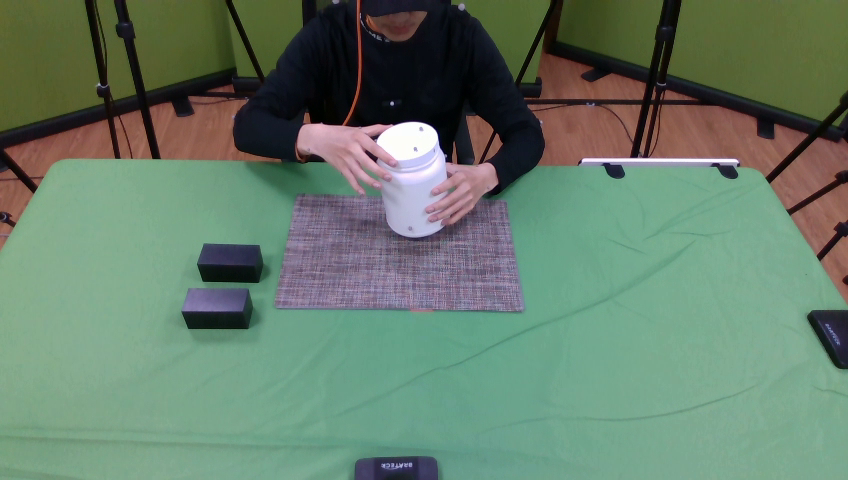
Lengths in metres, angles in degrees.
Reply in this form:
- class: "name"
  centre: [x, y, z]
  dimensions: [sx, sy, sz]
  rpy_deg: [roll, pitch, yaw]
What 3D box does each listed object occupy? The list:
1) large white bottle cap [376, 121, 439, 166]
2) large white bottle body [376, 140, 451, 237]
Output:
- class: "large white bottle cap"
  centre: [-0.031, -0.175, 1.096]
  dimensions: [0.115, 0.018, 0.114]
  rpy_deg: [-7, 45, 7]
- class: "large white bottle body"
  centre: [-0.020, -0.112, 1.158]
  dimensions: [0.130, 0.185, 0.130]
  rpy_deg: [-4, 44, 5]
